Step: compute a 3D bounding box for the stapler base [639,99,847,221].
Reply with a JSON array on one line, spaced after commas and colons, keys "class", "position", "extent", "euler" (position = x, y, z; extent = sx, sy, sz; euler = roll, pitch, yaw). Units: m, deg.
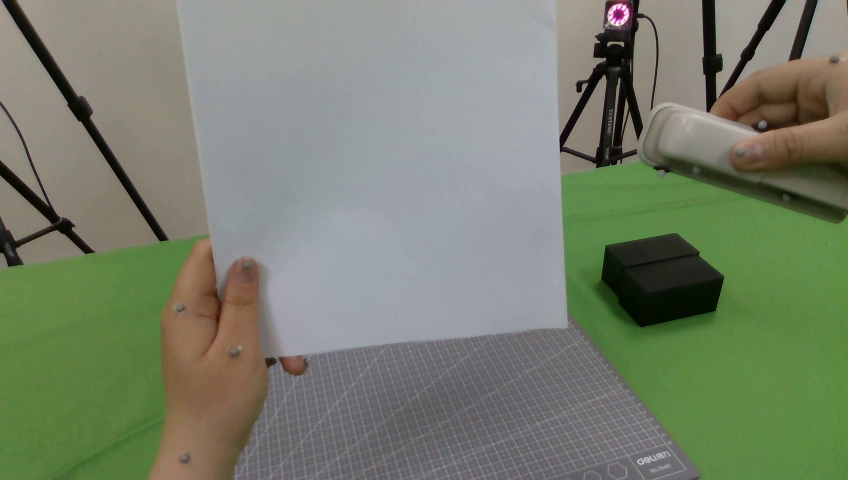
[{"class": "stapler base", "position": [0.198, -0.049, 0.362], "extent": [0.130, 0.041, 0.024], "euler": [19, 14, 7]}]

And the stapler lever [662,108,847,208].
[{"class": "stapler lever", "position": [0.195, -0.046, 0.341], "extent": [0.117, 0.027, 0.040], "euler": [20, 14, 12]}]
